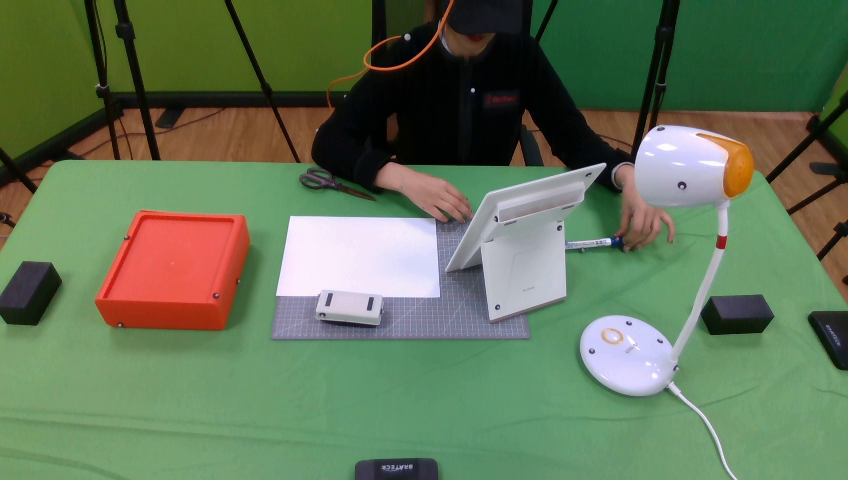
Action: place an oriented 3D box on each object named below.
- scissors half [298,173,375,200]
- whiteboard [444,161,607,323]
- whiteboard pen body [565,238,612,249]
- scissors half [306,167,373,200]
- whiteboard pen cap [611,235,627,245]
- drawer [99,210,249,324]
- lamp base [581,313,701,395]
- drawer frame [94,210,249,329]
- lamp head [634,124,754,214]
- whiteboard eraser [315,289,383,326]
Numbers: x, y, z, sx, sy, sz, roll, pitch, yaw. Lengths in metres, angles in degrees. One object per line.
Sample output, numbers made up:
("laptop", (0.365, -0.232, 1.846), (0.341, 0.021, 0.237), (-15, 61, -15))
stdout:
("scissors half", (-0.188, -0.110, 1.296), (0.175, 0.013, 0.040), (15, 42, 5))
("whiteboard", (0.186, 0.025, 1.029), (0.217, 0.306, 0.143), (-14, 68, -18))
("whiteboard pen body", (0.330, 0.006, 1.213), (0.141, 0.017, 0.017), (-5, 47, -4))
("scissors half", (-0.180, -0.120, 1.311), (0.174, 0.013, 0.040), (27, 39, 18))
("whiteboard pen cap", (0.389, 0.001, 1.217), (0.033, 0.018, 0.018), (-8, 47, -3))
("drawer", (-0.435, 0.044, 1.081), (0.194, 0.073, 0.210), (3, 46, -2))
("lamp base", (0.361, 0.144, 0.973), (0.178, 0.181, 0.160), (34, 53, 23))
("drawer frame", (-0.434, 0.048, 1.076), (0.202, 0.083, 0.212), (2, 47, -3))
("lamp head", (0.351, -0.089, 0.776), (0.112, 0.113, 0.122), (-30, 30, -28))
("whiteboard eraser", (-0.130, 0.119, 1.054), (0.113, 0.042, 0.055), (6, 47, 1))
